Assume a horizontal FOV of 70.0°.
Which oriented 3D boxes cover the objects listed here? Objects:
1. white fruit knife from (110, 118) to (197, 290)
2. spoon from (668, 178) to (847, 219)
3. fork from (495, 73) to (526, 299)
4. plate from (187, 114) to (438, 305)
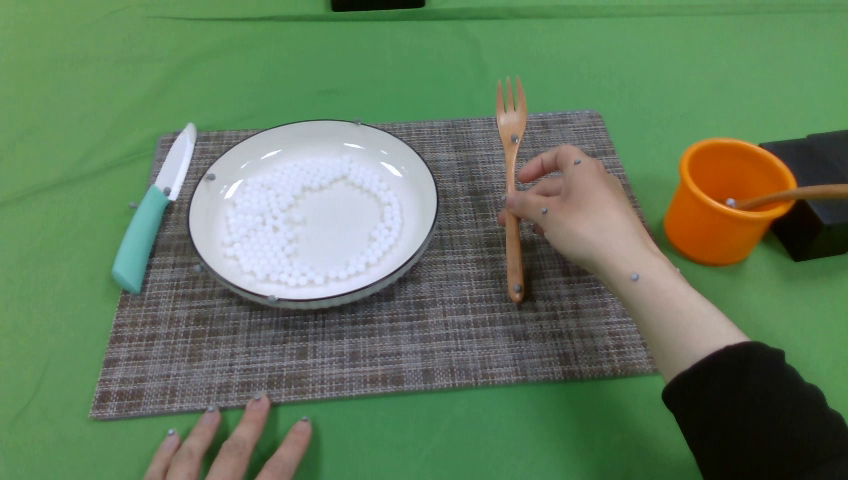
[{"bbox_3d":[-0.238,-0.044,0.546,0.027,0.016,0.205,21,46,-21],"label":"white fruit knife"},{"bbox_3d":[0.278,-0.035,0.470,0.041,0.193,0.022,-33,102,-28],"label":"spoon"},{"bbox_3d":[0.074,-0.051,0.514,0.028,0.019,0.206,-6,67,21],"label":"fork"},{"bbox_3d":[-0.091,-0.028,0.522,0.209,0.038,0.207,1,51,-1],"label":"plate"}]
